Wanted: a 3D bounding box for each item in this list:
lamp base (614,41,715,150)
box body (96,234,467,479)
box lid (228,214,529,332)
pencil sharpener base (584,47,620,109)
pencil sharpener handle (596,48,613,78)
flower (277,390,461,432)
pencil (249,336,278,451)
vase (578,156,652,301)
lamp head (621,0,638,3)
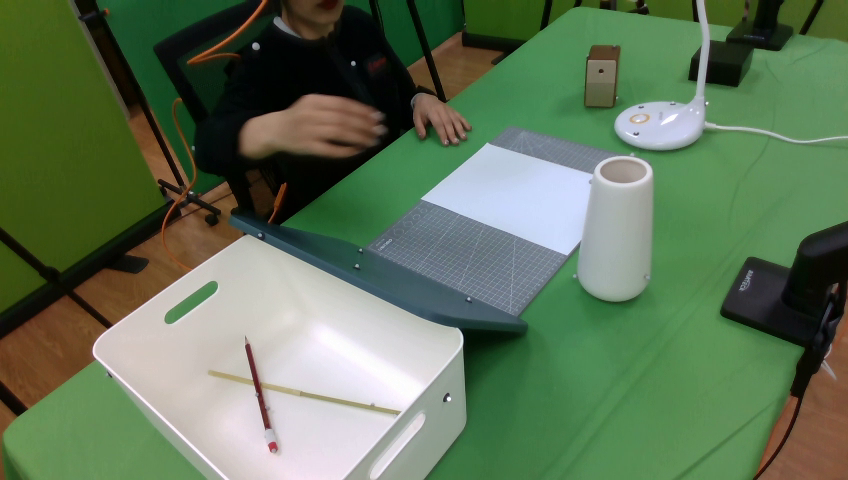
[{"bbox_3d":[0.449,-0.277,1.106,0.179,0.181,0.160,1,41,9],"label":"lamp base"},{"bbox_3d":[-0.155,0.169,0.707,0.361,0.161,0.255,23,49,33],"label":"box body"},{"bbox_3d":[-0.061,0.045,0.812,0.368,0.265,0.015,22,93,32],"label":"box lid"},{"bbox_3d":[0.367,-0.336,1.248,0.061,0.107,0.076,6,42,19],"label":"pencil sharpener base"},{"bbox_3d":[0.383,-0.378,1.276,0.036,0.068,0.030,2,41,22],"label":"pencil sharpener handle"},{"bbox_3d":[-0.122,0.203,0.771,0.360,0.038,0.044,2,77,22],"label":"flower"},{"bbox_3d":[-0.213,0.193,0.790,0.012,0.012,0.192,-19,43,-11],"label":"pencil"},{"bbox_3d":[0.261,-0.011,0.812,0.098,0.201,0.097,-4,40,4],"label":"vase"},{"bbox_3d":[0.319,-0.453,0.962,0.113,0.123,0.112,20,33,-13],"label":"lamp head"}]
